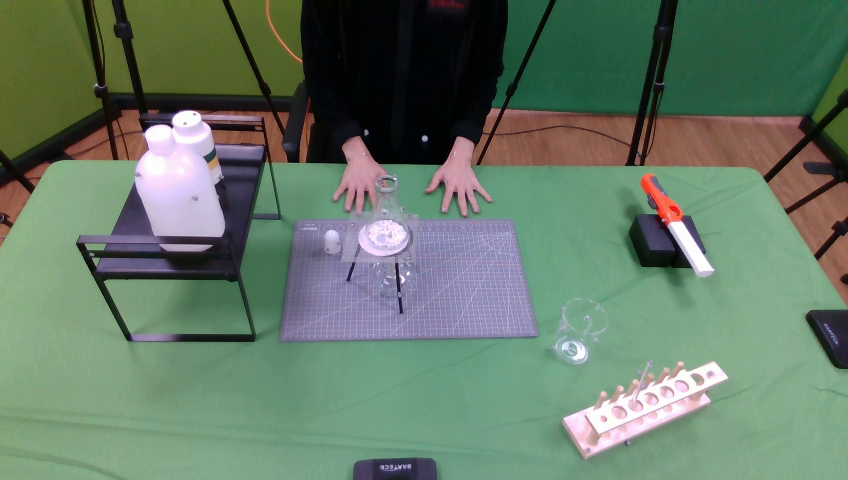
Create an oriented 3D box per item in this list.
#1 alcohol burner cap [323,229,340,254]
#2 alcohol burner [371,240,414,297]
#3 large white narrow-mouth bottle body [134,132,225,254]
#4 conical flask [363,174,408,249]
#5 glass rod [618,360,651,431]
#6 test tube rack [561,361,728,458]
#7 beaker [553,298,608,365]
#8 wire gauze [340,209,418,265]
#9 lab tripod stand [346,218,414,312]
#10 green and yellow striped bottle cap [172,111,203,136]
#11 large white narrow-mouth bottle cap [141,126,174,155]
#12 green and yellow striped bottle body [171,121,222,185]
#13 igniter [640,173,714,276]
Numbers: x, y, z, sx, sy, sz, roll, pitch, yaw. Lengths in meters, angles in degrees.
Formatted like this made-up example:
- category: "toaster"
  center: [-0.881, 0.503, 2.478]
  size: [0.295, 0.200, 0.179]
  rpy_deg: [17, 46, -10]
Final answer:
- category: "alcohol burner cap"
  center: [-0.179, 0.001, 1.165]
  size: [0.034, 0.048, 0.033]
  rpy_deg: [2, 45, -2]
- category: "alcohol burner"
  center: [-0.057, 0.046, 1.082]
  size: [0.078, 0.120, 0.077]
  rpy_deg: [0, 46, 0]
- category: "large white narrow-mouth bottle body"
  center: [-0.358, -0.075, 0.875]
  size: [0.102, 0.195, 0.101]
  rpy_deg: [1, 48, -1]
- category: "conical flask"
  center: [-0.063, -0.050, 0.985]
  size: [0.075, 0.122, 0.075]
  rpy_deg: [2, 46, -1]
- category: "glass rod"
  center: [0.298, 0.227, 0.865]
  size: [0.008, 0.201, 0.008]
  rpy_deg: [-2, 47, 2]
- category: "test tube rack"
  center: [0.341, 0.248, 0.940]
  size: [0.243, 0.085, 0.066]
  rpy_deg: [-15, 49, -18]
- category: "beaker"
  center: [0.260, 0.155, 1.015]
  size: [0.073, 0.101, 0.084]
  rpy_deg: [37, 54, 27]
- category: "wire gauze"
  center: [-0.074, -0.006, 1.024]
  size: [0.121, 0.011, 0.124]
  rpy_deg: [2, 48, 1]
- category: "lab tripod stand"
  center: [-0.069, 0.038, 1.075]
  size: [0.148, 0.132, 0.147]
  rpy_deg: [1, 47, -1]
- category: "green and yellow striped bottle cap"
  center: [-0.374, -0.185, 0.958]
  size: [0.045, 0.020, 0.045]
  rpy_deg: [3, 46, -3]
- category: "large white narrow-mouth bottle cap"
  center: [-0.356, -0.133, 0.811]
  size: [0.038, 0.024, 0.037]
  rpy_deg: [1, 48, -1]
- category: "green and yellow striped bottle body"
  center: [-0.375, -0.149, 0.995]
  size: [0.063, 0.120, 0.063]
  rpy_deg: [2, 46, -2]
- category: "igniter"
  center: [0.495, -0.039, 1.204]
  size: [0.057, 0.025, 0.274]
  rpy_deg: [-2, 47, -12]
